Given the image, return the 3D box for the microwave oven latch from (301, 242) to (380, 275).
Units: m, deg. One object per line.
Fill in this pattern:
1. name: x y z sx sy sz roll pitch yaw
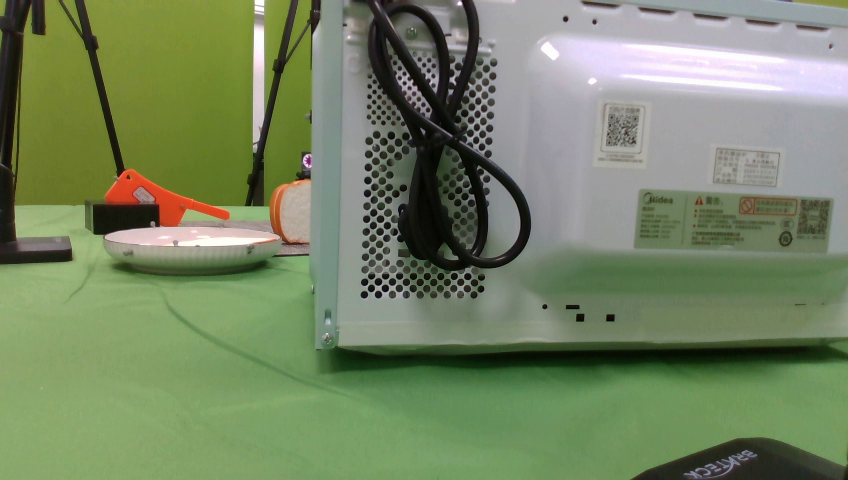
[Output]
1. microwave oven latch: -0.089 0.019 0.649 0.079 0.029 0.030 4 6 4

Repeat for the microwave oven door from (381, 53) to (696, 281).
1. microwave oven door: 0.133 -0.078 0.694 0.357 0.243 0.039 1 8 -9

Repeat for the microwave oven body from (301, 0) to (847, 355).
1. microwave oven body: 0.120 -0.053 0.535 0.443 0.260 0.325 2 7 -11

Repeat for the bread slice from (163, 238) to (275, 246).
1. bread slice: -0.268 0.014 0.759 0.106 0.018 0.135 2 8 21

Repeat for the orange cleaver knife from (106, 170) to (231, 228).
1. orange cleaver knife: -0.458 -0.060 1.097 0.212 0.077 0.012 23 -4 -38

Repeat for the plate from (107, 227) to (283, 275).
1. plate: -0.288 0.013 0.772 0.208 0.039 0.207 2 7 0
